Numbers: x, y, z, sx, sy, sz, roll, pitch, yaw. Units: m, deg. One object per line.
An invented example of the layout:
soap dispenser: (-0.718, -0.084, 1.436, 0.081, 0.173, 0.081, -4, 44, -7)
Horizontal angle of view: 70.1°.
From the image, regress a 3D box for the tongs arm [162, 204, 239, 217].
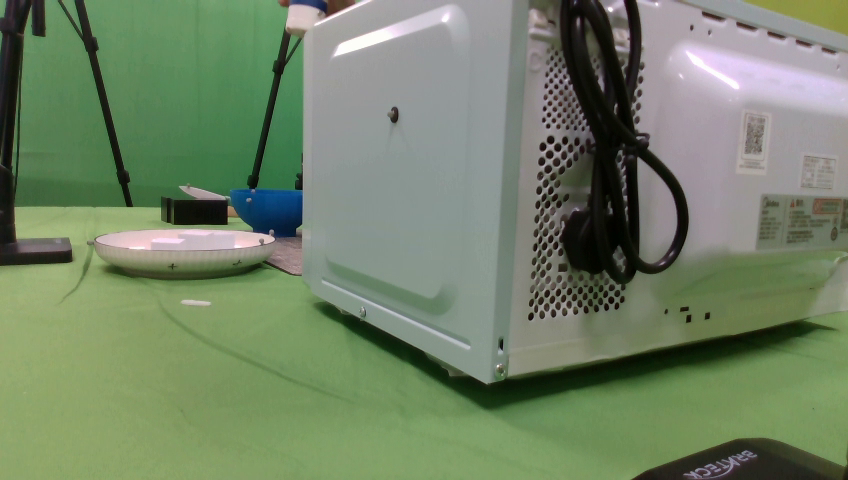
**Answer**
tongs arm: (-0.396, -0.066, 1.399, 0.389, 0.028, 0.028, 1, 5, -15)

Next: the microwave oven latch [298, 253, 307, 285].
microwave oven latch: (-0.082, 0.027, 0.582, 0.079, 0.029, 0.030, -2, 7, -33)

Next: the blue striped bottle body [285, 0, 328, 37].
blue striped bottle body: (-0.189, -0.399, 0.994, 0.063, 0.120, 0.063, 9, 4, 0)

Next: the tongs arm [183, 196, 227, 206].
tongs arm: (-0.404, -0.081, 1.479, 0.385, 0.026, 0.050, 3, 8, -2)

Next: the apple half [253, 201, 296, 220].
apple half: (-0.264, -0.053, 1.067, 0.081, 0.033, 0.081, 1, 8, 0)

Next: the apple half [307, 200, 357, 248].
apple half: (-0.135, -0.024, 0.941, 0.053, 0.074, 0.081, 13, 8, 39)

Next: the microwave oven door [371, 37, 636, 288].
microwave oven door: (0.109, -0.080, 0.686, 0.358, 0.243, 0.039, -2, 9, -33)

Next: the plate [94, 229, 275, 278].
plate: (-0.291, 0.016, 0.750, 0.208, 0.039, 0.207, 2, 7, 0)

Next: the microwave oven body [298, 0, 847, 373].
microwave oven body: (0.151, -0.055, 0.542, 0.444, 0.260, 0.324, -2, 7, -33)

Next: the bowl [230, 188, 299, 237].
bowl: (-0.264, -0.048, 1.066, 0.151, 0.077, 0.151, 3, 8, 0)

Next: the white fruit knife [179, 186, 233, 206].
white fruit knife: (-0.413, -0.081, 1.270, 0.208, 0.027, 0.016, 17, 13, -41)
